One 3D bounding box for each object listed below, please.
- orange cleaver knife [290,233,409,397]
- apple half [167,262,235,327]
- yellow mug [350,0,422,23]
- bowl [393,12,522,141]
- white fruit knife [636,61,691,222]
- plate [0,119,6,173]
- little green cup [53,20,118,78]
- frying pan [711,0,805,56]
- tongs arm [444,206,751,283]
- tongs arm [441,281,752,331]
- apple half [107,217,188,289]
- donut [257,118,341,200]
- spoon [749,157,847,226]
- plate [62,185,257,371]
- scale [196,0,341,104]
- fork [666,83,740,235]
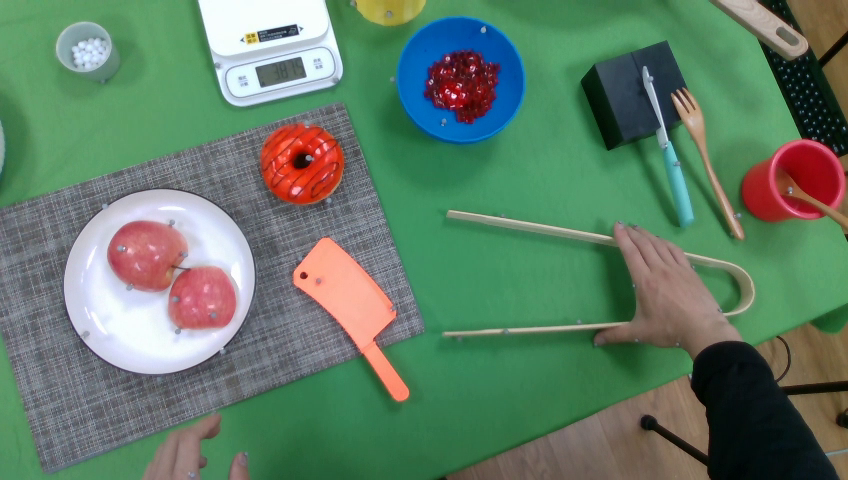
[{"bbox_3d":[-0.073,0.086,0.710,0.077,0.012,0.211,-38,86,-14],"label":"orange cleaver knife"},{"bbox_3d":[-0.256,0.062,0.681,0.081,0.033,0.081,0,86,-3],"label":"apple half"},{"bbox_3d":[-0.060,-0.339,0.744,0.131,0.064,0.100,37,82,1],"label":"yellow mug"},{"bbox_3d":[0.036,-0.184,0.728,0.151,0.077,0.151,1,84,-5],"label":"bowl"},{"bbox_3d":[0.292,-0.118,0.743,0.016,0.027,0.208,-22,100,-7],"label":"white fruit knife"},{"bbox_3d":[-0.578,-0.100,0.682,0.208,0.039,0.207,1,83,-5],"label":"plate"},{"bbox_3d":[-0.395,-0.222,0.713,0.061,0.038,0.061,1,83,-4],"label":"little green cup"},{"bbox_3d":[0.269,-0.386,0.760,0.486,0.103,0.306,42,82,9],"label":"frying pan"},{"bbox_3d":[0.214,0.002,0.749,0.388,0.028,0.028,11,72,-3],"label":"tongs arm"},{"bbox_3d":[0.211,0.079,0.734,0.385,0.026,0.050,-1,77,-5],"label":"tongs arm"},{"bbox_3d":[-0.312,0.011,0.673,0.074,0.053,0.080,31,81,3],"label":"apple half"},{"bbox_3d":[-0.147,-0.095,0.714,0.099,0.048,0.099,0,84,-3],"label":"donut"},{"bbox_3d":[0.465,-0.045,0.717,0.041,0.022,0.191,-25,42,-8],"label":"spoon"},{"bbox_3d":[-0.294,0.042,0.687,0.209,0.038,0.208,1,83,-5],"label":"plate"},{"bbox_3d":[-0.196,-0.276,0.741,0.149,0.031,0.200,-15,85,-6],"label":"scale"},{"bbox_3d":[0.351,-0.098,0.753,0.028,0.018,0.208,-30,102,-10],"label":"fork"}]
